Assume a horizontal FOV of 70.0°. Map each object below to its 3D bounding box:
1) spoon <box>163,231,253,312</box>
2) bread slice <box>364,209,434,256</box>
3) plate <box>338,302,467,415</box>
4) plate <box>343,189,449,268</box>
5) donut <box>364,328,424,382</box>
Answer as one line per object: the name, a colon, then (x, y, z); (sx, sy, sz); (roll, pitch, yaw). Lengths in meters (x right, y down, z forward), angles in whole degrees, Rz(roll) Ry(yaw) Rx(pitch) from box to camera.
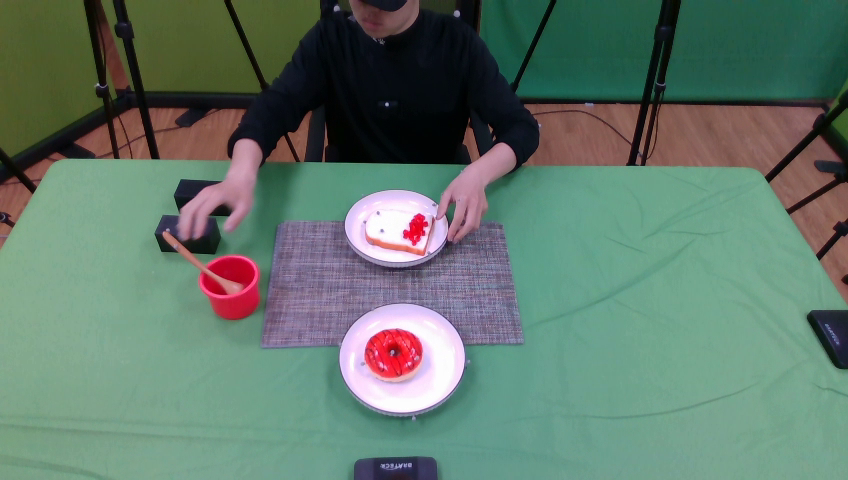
spoon: (-0.364, 0.054, 1.025); (0.194, 0.021, 0.041); (43, 50, -17)
bread slice: (-0.053, -0.020, 1.199); (0.131, 0.019, 0.104); (10, 46, 4)
plate: (-0.035, 0.194, 0.992); (0.208, 0.039, 0.206); (2, 48, -2)
plate: (-0.055, -0.020, 1.195); (0.209, 0.038, 0.208); (2, 46, -2)
donut: (-0.049, 0.185, 0.983); (0.099, 0.048, 0.098); (1, 45, -1)
